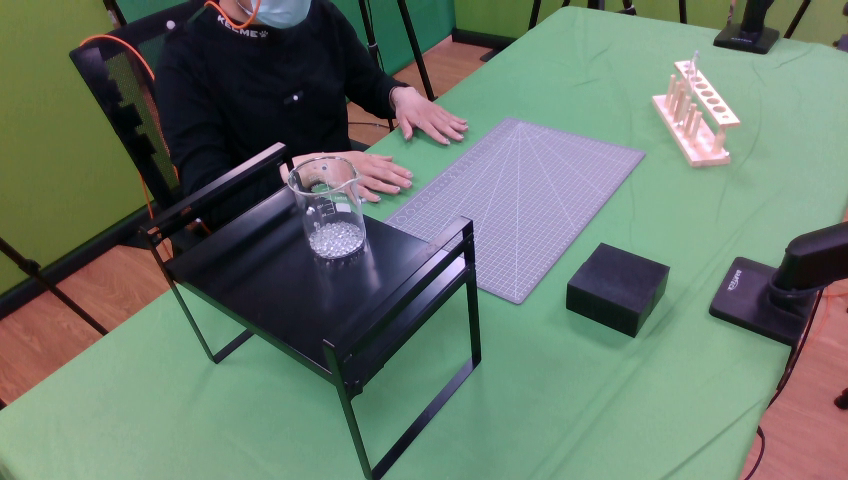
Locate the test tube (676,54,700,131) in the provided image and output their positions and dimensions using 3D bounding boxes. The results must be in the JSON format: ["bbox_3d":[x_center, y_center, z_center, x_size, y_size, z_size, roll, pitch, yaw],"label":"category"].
[{"bbox_3d":[0.475,-0.263,1.088,0.017,0.151,0.017,-4,43,4],"label":"test tube"}]

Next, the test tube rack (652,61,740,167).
[{"bbox_3d":[0.499,-0.242,1.130,0.067,0.085,0.241,-5,41,3],"label":"test tube rack"}]

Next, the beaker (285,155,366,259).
[{"bbox_3d":[-0.105,-0.035,0.691,0.084,0.101,0.073,-4,41,3],"label":"beaker"}]
